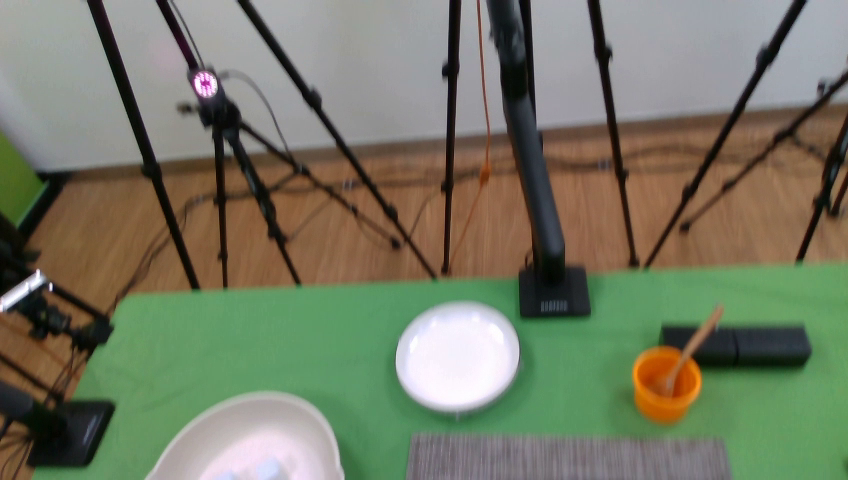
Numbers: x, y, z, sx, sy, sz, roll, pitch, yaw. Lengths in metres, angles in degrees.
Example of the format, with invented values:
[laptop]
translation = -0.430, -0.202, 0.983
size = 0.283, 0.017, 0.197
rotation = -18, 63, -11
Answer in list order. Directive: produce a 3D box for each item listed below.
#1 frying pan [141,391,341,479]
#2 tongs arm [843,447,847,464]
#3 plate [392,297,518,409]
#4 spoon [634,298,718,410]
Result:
[frying pan]
translation = -0.270, 0.432, 0.803
size = 0.306, 0.104, 0.483
rotation = -4, 39, 10
[tongs arm]
translation = 0.575, 0.418, 0.678
size = 0.028, 0.028, 0.383
rotation = -8, 48, 4
[plate]
translation = 0.052, 0.187, 0.997
size = 0.207, 0.039, 0.205
rotation = -6, 48, 8
[spoon]
translation = 0.364, 0.165, 0.870
size = 0.022, 0.194, 0.041
rotation = 9, 25, -43
